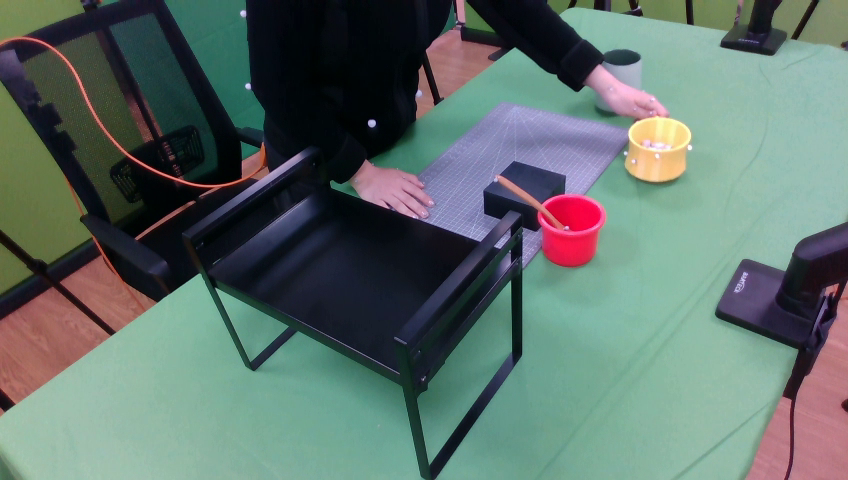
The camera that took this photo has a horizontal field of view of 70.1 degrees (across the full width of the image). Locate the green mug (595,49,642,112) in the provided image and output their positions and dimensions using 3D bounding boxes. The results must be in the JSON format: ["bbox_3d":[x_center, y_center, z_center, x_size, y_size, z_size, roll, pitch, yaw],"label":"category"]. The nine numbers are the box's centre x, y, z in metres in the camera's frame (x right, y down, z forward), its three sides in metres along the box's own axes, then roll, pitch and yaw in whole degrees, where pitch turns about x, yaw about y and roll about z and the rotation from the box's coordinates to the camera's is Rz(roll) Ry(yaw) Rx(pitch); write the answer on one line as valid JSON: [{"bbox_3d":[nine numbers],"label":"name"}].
[{"bbox_3d":[0.397,-0.333,1.240,0.092,0.105,0.125,-2,41,7],"label":"green mug"}]

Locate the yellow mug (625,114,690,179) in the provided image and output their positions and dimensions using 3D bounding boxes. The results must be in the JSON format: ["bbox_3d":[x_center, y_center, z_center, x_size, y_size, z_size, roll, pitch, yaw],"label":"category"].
[{"bbox_3d":[0.404,-0.171,1.051,0.099,0.064,0.130,1,43,14],"label":"yellow mug"}]

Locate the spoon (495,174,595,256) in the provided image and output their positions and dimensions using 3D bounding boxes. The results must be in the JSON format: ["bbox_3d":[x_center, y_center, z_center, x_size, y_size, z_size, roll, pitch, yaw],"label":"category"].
[{"bbox_3d":[0.181,-0.040,0.902,0.194,0.021,0.041,40,48,-14],"label":"spoon"}]
